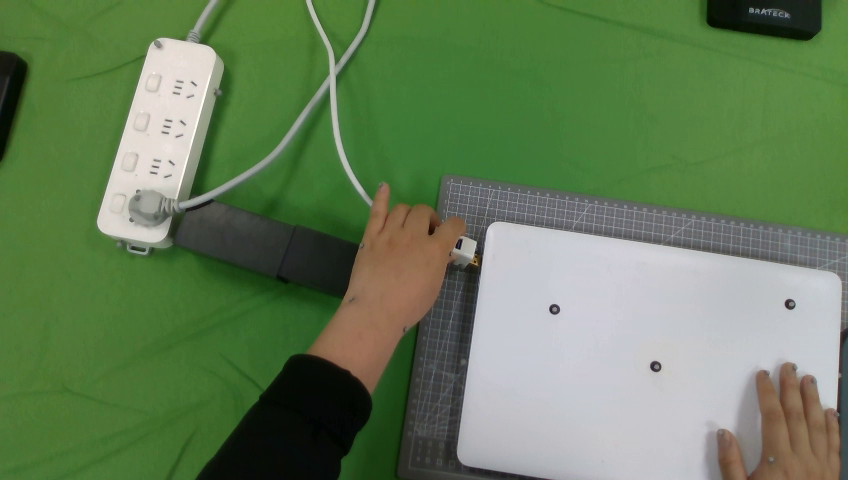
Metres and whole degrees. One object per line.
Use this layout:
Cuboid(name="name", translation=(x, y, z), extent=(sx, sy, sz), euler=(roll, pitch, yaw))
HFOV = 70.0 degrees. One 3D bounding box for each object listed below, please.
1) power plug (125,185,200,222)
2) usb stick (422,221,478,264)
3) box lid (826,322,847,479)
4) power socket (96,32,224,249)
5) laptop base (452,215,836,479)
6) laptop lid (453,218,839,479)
Cuboid(name="power plug", translation=(-0.246, -0.028, 0.573), extent=(0.072, 0.053, 0.035), euler=(25, 78, 1))
Cuboid(name="usb stick", translation=(0.030, 0.005, 0.586), extent=(0.059, 0.027, 0.021), euler=(22, 55, -13))
Cuboid(name="box lid", translation=(0.510, 0.270, 0.573), extent=(0.263, 0.015, 0.370), euler=(8, 80, -1))
Cuboid(name="power socket", translation=(-0.261, -0.104, 0.605), extent=(0.072, 0.033, 0.226), euler=(12, 80, 0))
Cuboid(name="laptop base", translation=(0.216, 0.115, 0.588), extent=(0.354, 0.023, 0.235), euler=(9, 84, -1))
Cuboid(name="laptop lid", translation=(0.216, 0.116, 0.577), extent=(0.357, 0.013, 0.241), euler=(10, 83, 0))
